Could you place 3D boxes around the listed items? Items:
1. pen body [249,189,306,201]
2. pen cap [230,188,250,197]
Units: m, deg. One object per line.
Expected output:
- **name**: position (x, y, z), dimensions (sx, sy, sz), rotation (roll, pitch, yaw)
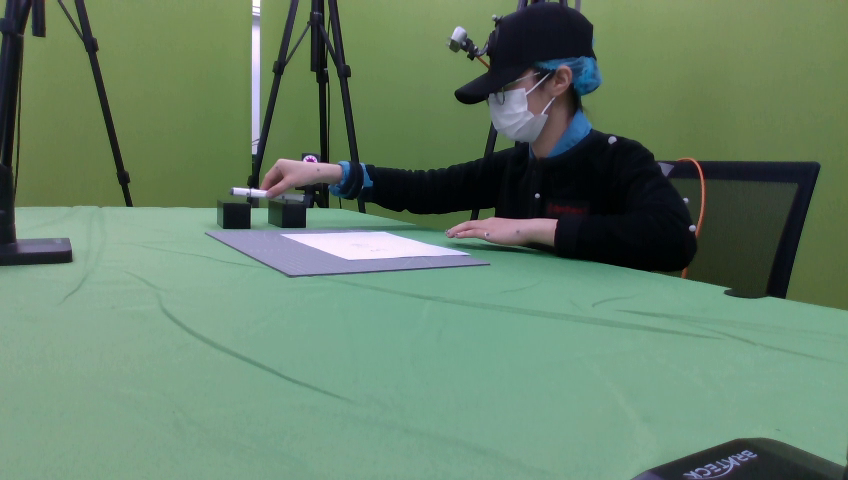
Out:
- **pen body**: position (-0.315, -0.092, 1.245), dimensions (0.145, 0.017, 0.017), rotation (3, 6, -32)
- **pen cap**: position (-0.369, -0.095, 1.211), dimensions (0.039, 0.017, 0.017), rotation (1, 7, -32)
